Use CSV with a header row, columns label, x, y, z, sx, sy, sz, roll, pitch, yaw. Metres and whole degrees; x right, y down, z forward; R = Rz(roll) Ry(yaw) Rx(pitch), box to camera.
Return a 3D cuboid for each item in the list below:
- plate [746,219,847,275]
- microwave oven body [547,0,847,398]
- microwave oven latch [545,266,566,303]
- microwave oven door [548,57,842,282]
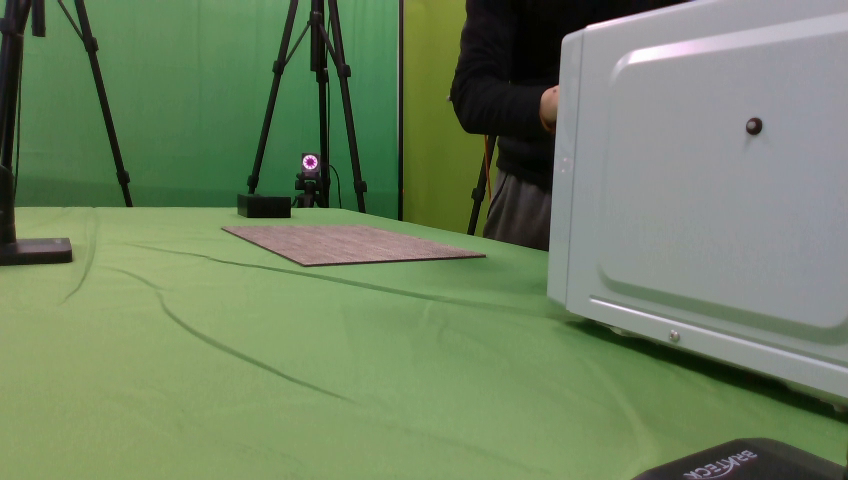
label,x,y,z,sx,sy,sz,roll,pitch,yaw
plate,0.408,0.008,0.551,0.209,0.038,0.209,3,6,0
microwave oven body,0.378,-0.046,0.509,0.444,0.260,0.324,-2,8,-31
microwave oven latch,0.148,0.038,0.555,0.079,0.029,0.030,-2,7,-28
microwave oven door,0.322,-0.076,0.701,0.357,0.243,0.039,0,8,-14
